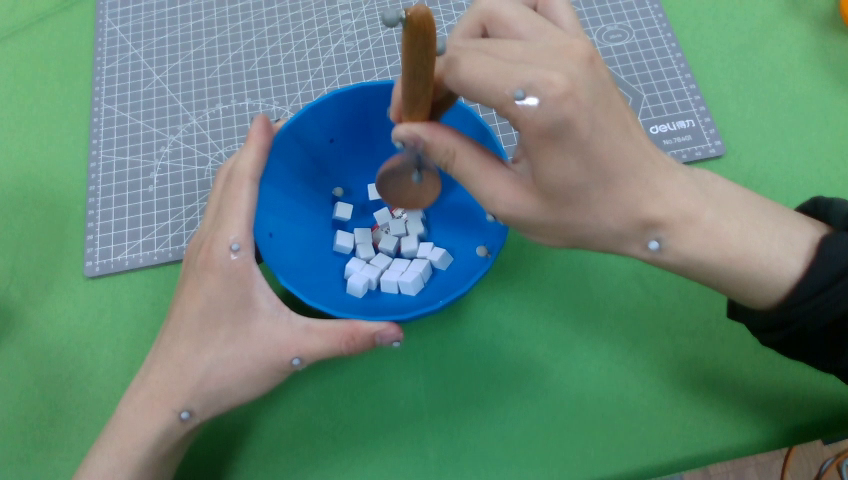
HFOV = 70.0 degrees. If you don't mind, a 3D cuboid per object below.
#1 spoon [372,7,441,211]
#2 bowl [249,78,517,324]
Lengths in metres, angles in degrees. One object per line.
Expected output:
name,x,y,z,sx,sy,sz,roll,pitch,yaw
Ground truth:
spoon,-0.006,-0.049,0.295,0.041,0.194,0.021,4,78,-3
bowl,-0.022,-0.014,0.375,0.151,0.077,0.150,0,70,2
